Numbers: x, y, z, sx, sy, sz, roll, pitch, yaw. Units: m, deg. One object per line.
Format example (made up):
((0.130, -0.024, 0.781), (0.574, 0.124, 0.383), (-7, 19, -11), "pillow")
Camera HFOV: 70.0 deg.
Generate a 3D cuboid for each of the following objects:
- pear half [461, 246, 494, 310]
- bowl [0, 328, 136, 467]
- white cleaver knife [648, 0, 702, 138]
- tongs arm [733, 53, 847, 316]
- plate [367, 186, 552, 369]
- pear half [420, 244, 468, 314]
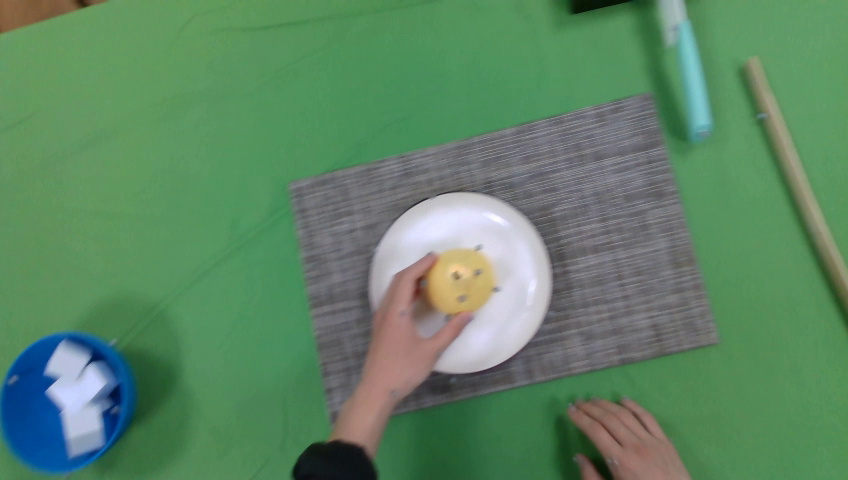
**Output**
((0.059, 0.039, 0.658), (0.031, 0.088, 0.070), (-8, 77, 7), "pear half")
((-0.394, 0.177, 0.701), (0.151, 0.077, 0.151), (-1, 82, 5), "bowl")
((0.278, -0.258, 0.698), (0.021, 0.066, 0.286), (-12, 91, 8), "white cleaver knife")
((0.435, -0.037, 0.678), (0.028, 0.028, 0.386), (-21, 81, 1), "tongs arm")
((0.040, 0.043, 0.695), (0.207, 0.039, 0.207), (-1, 82, 6), "plate")
((0.022, 0.040, 0.652), (0.056, 0.110, 0.076), (-7, 76, 5), "pear half")
